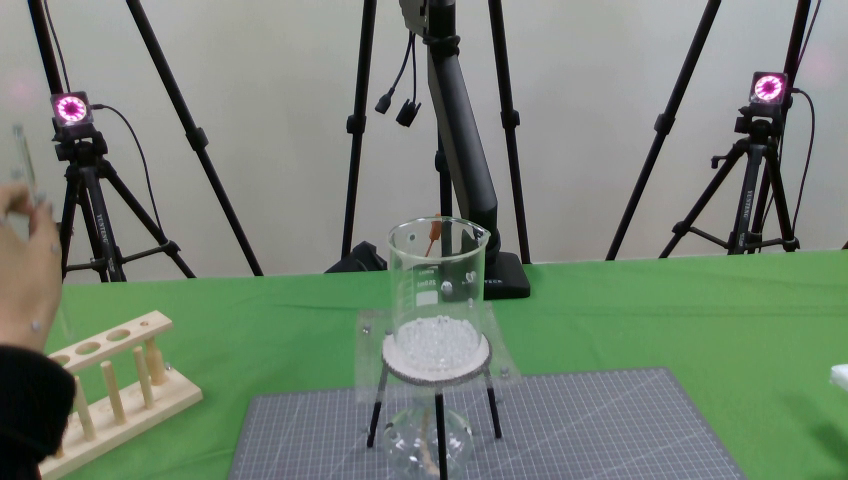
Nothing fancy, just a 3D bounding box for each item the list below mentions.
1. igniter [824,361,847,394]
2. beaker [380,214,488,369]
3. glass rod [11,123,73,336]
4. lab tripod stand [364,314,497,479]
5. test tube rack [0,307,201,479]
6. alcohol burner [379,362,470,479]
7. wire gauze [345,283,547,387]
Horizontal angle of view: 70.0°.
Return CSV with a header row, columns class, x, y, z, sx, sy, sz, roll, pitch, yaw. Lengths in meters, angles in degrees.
class,x,y,z,sx,sy,sz,roll,pitch,yaw
igniter,0.410,0.172,0.451,0.057,0.025,0.274,-4,22,-5
beaker,0.010,0.039,0.461,0.084,0.101,0.073,-13,29,-24
glass rod,-0.294,0.002,0.469,0.008,0.201,0.008,7,35,-5
lab tripod stand,0.010,0.143,0.509,0.148,0.132,0.147,1,26,0
test tube rack,-0.339,0.156,0.556,0.066,0.086,0.243,20,32,37
alcohol burner,0.001,0.152,0.512,0.078,0.120,0.077,1,25,0
wire gauze,0.013,0.071,0.470,0.125,0.011,0.120,-8,23,-25
